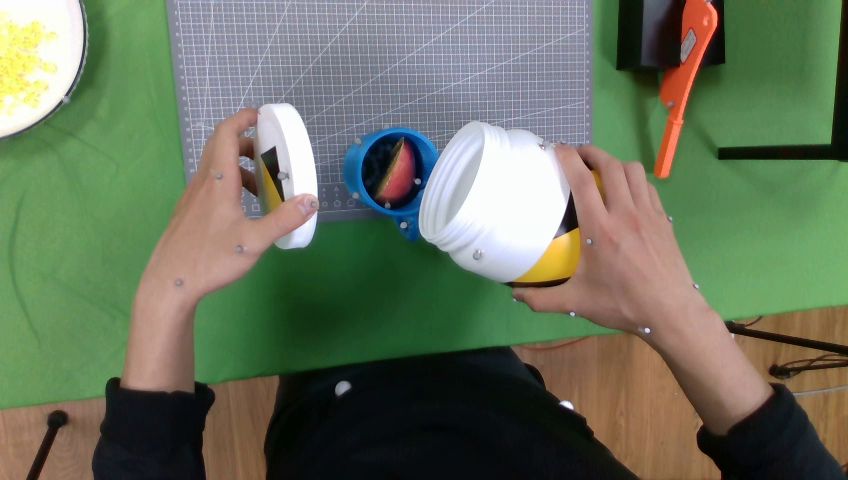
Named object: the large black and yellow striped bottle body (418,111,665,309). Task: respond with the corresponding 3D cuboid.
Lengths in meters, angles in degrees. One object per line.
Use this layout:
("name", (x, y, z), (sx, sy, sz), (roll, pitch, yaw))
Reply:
("large black and yellow striped bottle body", (0.100, -0.026, 0.533), (0.185, 0.130, 0.131), (22, 93, -20))

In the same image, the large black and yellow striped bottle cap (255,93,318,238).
("large black and yellow striped bottle cap", (-0.112, -0.058, 0.482), (0.019, 0.114, 0.115), (-10, 102, -26))

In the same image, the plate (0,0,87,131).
("plate", (-0.403, -0.197, 0.521), (0.210, 0.038, 0.209), (-3, 100, -14))

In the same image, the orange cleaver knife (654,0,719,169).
("orange cleaver knife", (0.288, -0.184, 0.689), (0.012, 0.076, 0.213), (-2, 126, -6))

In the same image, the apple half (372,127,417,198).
("apple half", (-0.024, -0.072, 0.603), (0.033, 0.081, 0.081), (27, 91, -9))

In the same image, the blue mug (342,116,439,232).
("blue mug", (-0.030, -0.063, 0.609), (0.082, 0.105, 0.117), (-20, 104, -11))
